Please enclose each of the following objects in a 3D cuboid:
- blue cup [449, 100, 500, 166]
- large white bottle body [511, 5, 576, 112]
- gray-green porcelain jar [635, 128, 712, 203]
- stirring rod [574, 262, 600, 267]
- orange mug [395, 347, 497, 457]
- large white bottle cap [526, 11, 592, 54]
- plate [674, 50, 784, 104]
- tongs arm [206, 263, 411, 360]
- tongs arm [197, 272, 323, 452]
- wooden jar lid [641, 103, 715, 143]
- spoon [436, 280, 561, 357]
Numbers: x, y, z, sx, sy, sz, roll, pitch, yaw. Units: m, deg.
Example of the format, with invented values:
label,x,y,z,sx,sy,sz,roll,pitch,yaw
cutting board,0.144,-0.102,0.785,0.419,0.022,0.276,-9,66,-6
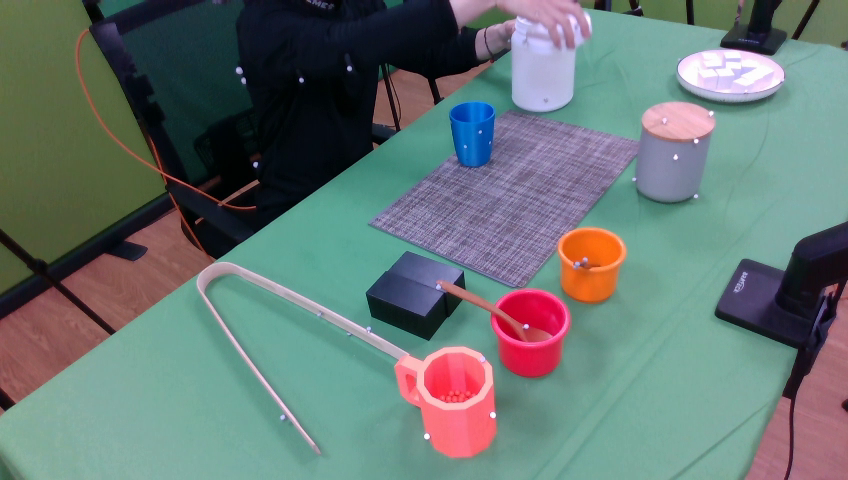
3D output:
label,x,y,z,sx,sy,sz,roll,pitch,yaw
blue cup,0.092,-0.194,1.123,0.092,0.100,0.092,-3,40,3
large white bottle body,0.247,-0.375,1.253,0.130,0.185,0.130,-5,41,4
gray-green porcelain jar,0.405,-0.133,0.992,0.106,0.127,0.105,-4,40,4
stirring rod,0.222,0.033,0.816,0.014,0.006,0.177,7,1,22
orange mug,0.024,0.180,0.703,0.125,0.101,0.083,21,48,23
large white bottle cap,0.240,-0.372,1.079,0.114,0.018,0.114,-12,44,13
plate,0.631,-0.336,1.262,0.207,0.039,0.206,-4,41,4
tongs arm,-0.179,0.106,0.870,0.381,0.026,0.051,23,53,32
tongs arm,-0.236,0.153,0.830,0.028,0.028,0.384,-36,47,-19
wooden jar lid,0.398,-0.180,0.952,0.108,0.021,0.108,-4,43,4
spoon,0.096,0.095,0.757,0.195,0.021,0.041,34,40,-20
